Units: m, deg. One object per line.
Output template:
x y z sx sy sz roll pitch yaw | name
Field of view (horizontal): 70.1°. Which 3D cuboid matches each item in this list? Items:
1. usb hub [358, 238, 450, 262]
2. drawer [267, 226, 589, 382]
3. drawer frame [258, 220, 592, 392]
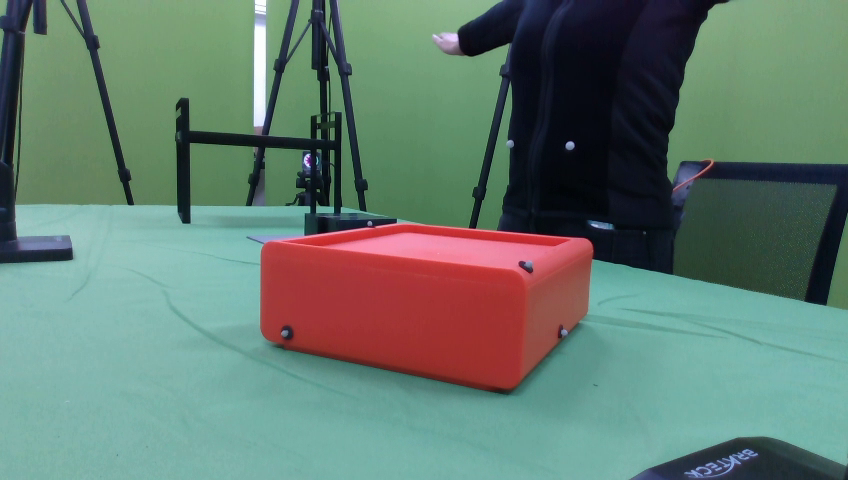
-0.027 0.013 0.856 0.126 0.025 0.049 -2 8 -34 | usb hub
0.015 0.038 0.493 0.194 0.073 0.212 7 9 25 | drawer
0.015 0.036 0.491 0.201 0.082 0.214 6 9 24 | drawer frame
